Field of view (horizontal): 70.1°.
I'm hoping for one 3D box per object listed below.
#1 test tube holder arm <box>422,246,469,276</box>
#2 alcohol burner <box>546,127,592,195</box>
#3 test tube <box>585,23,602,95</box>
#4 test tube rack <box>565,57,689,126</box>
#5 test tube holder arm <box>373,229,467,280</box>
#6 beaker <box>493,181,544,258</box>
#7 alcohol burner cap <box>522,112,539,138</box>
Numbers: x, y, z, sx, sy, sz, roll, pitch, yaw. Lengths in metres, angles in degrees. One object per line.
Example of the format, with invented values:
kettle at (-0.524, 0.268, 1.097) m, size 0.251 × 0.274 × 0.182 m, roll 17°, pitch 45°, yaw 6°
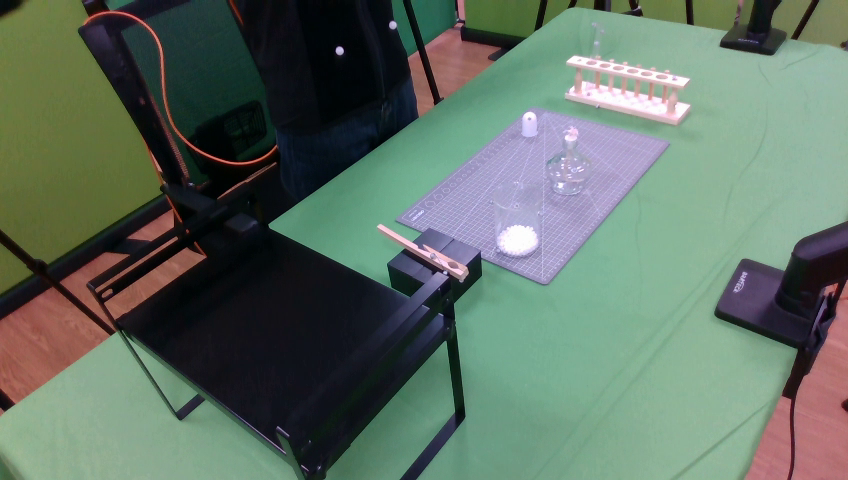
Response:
test tube holder arm at (0.028, 0.031, 0.864) m, size 0.087 × 0.015 × 0.010 m, roll 25°, pitch 49°, yaw 34°
alcohol burner at (0.246, -0.137, 1.024) m, size 0.078 × 0.119 × 0.077 m, roll -4°, pitch 38°, yaw 4°
test tube at (0.342, -0.364, 1.226) m, size 0.017 × 0.151 × 0.017 m, roll -2°, pitch 42°, yaw 2°
test tube rack at (0.412, -0.311, 1.230) m, size 0.240 × 0.085 × 0.067 m, roll 23°, pitch 49°, yaw 32°
test tube holder arm at (-0.010, 0.019, 0.885) m, size 0.177 × 0.015 × 0.013 m, roll 23°, pitch 48°, yaw 33°
beaker at (0.145, -0.031, 0.925) m, size 0.074 × 0.101 × 0.084 m, roll 6°, pitch 41°, yaw 16°
alcohol burner cap at (0.210, -0.230, 1.195) m, size 0.034 × 0.048 × 0.033 m, roll -5°, pitch 41°, yaw 5°
